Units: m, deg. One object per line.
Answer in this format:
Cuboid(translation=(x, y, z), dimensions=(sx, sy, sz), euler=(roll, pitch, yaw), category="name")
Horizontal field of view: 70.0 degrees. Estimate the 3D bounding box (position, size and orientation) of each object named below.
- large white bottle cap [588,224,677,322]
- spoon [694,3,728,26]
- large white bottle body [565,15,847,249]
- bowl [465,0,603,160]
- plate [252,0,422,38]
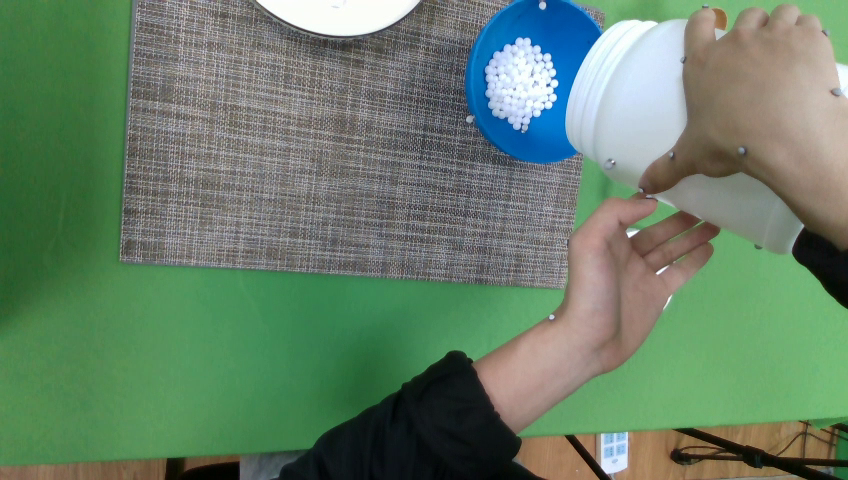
Cuboid(translation=(0.243, 0.039, 0.704), dimensions=(0.115, 0.018, 0.115), euler=(-3, 100, -19), category="large white bottle cap")
Cuboid(translation=(0.266, -0.150, 0.633), dimensions=(0.042, 0.021, 0.194), euler=(17, 98, -24), category="spoon")
Cuboid(translation=(0.211, -0.088, 0.449), dimensions=(0.130, 0.183, 0.132), euler=(-32, 139, -32), category="large white bottle body")
Cuboid(translation=(0.100, -0.154, 0.589), dimensions=(0.152, 0.076, 0.151), euler=(-3, 99, -18), category="bowl")
Cuboid(translation=(-0.083, -0.280, 0.529), dimensions=(0.210, 0.038, 0.209), euler=(-2, 96, -19), category="plate")
